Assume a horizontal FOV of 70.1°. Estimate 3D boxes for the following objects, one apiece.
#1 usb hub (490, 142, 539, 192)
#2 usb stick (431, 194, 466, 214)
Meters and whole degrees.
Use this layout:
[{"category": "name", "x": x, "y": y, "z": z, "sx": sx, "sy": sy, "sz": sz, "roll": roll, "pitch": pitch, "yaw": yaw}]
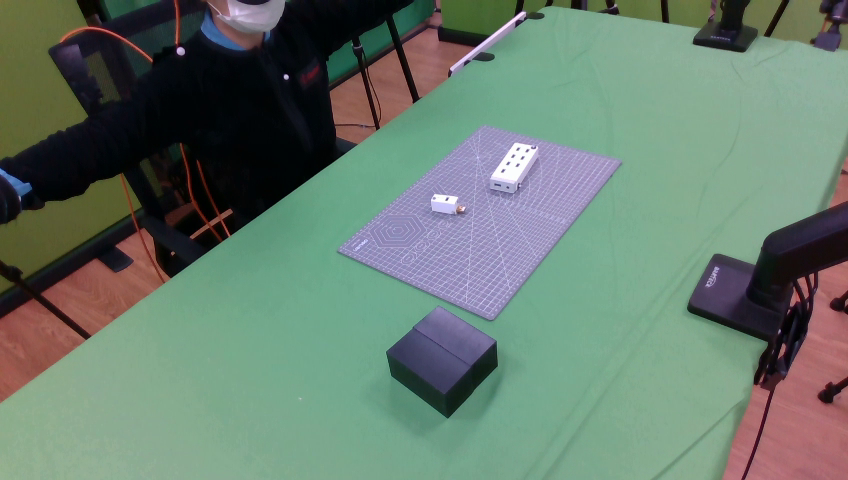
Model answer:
[{"category": "usb hub", "x": 0.165, "y": -0.132, "z": 1.092, "sx": 0.049, "sy": 0.025, "sz": 0.125, "roll": 15, "pitch": 46, "yaw": 24}, {"category": "usb stick", "x": 0.043, "y": -0.060, "z": 1.025, "sx": 0.059, "sy": 0.027, "sz": 0.021, "roll": 12, "pitch": 43, "yaw": 17}]
